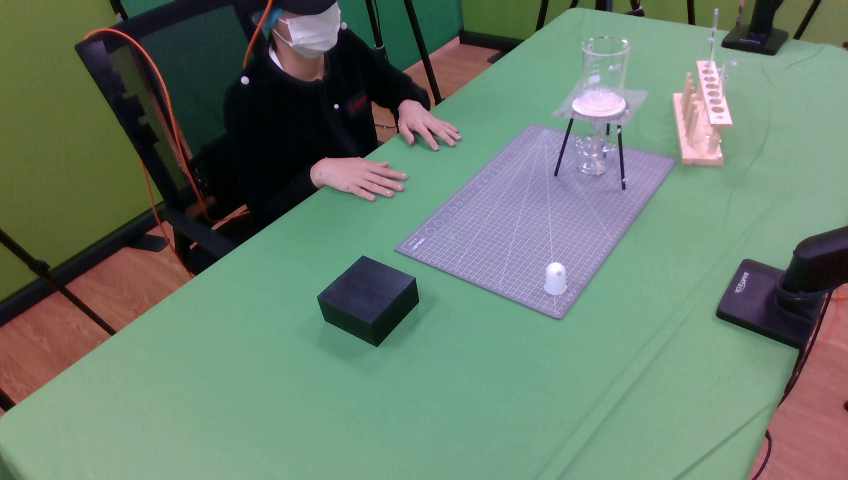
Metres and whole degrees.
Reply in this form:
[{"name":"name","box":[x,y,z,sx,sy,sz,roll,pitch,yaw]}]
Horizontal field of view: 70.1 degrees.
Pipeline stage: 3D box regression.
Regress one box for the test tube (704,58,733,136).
[{"name":"test tube","box":[0.516,-0.247,1.062,0.017,0.151,0.017,-3,43,4]}]

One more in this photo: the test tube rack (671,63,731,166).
[{"name":"test tube rack","box":[0.513,-0.240,1.132,0.066,0.085,0.242,4,41,14]}]

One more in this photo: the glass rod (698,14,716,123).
[{"name":"glass rod","box":[0.532,-0.320,1.137,0.008,0.200,0.008,3,12,0]}]

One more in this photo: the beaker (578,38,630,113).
[{"name":"beaker","box":[0.290,-0.265,0.976,0.084,0.101,0.073,-18,41,-14]}]

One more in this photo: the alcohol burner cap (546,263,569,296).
[{"name":"alcohol burner cap","box":[0.191,0.053,0.862,0.034,0.048,0.033,-5,40,4]}]

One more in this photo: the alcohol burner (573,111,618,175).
[{"name":"alcohol burner","box":[0.302,-0.174,1.060,0.078,0.119,0.077,-4,41,4]}]

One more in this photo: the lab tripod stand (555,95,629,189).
[{"name":"lab tripod stand","box":[0.300,-0.174,1.045,0.148,0.132,0.147,-5,38,5]}]

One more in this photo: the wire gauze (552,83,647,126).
[{"name":"wire gauze","box":[0.293,-0.224,1.004,0.120,0.011,0.125,19,43,26]}]
